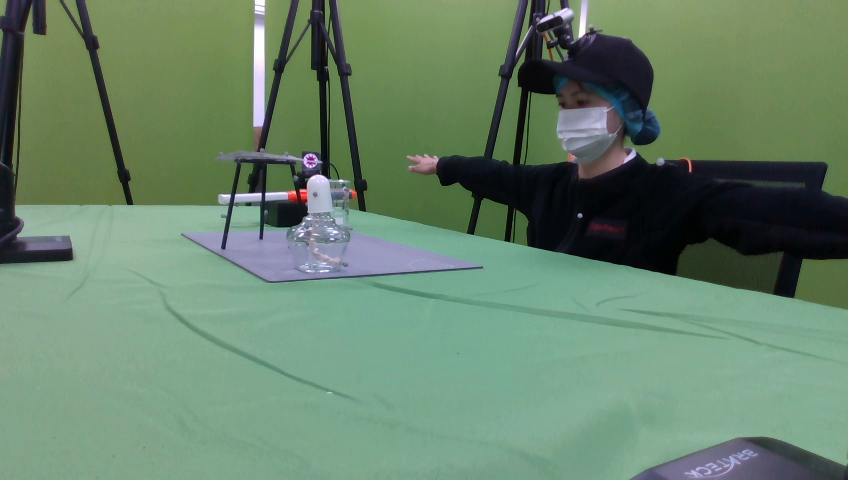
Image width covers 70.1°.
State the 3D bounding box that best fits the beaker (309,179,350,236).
[{"bbox_3d":[-0.176,-0.060,1.104,0.073,0.100,0.084,8,10,39],"label":"beaker"}]

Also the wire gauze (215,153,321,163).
[{"bbox_3d":[-0.235,-0.123,0.906,0.126,0.011,0.121,-2,7,-33],"label":"wire gauze"}]

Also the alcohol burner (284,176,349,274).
[{"bbox_3d":[-0.130,-0.019,0.738,0.078,0.119,0.078,4,5,0],"label":"alcohol burner"}]

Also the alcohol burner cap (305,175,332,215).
[{"bbox_3d":[-0.130,-0.054,0.733,0.034,0.048,0.034,-4,8,1],"label":"alcohol burner cap"}]

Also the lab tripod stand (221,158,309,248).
[{"bbox_3d":[-0.244,-0.057,0.917,0.148,0.131,0.148,1,7,0],"label":"lab tripod stand"}]

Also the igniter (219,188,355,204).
[{"bbox_3d":[-0.274,-0.090,1.237,0.278,0.025,0.057,-5,11,-30],"label":"igniter"}]
